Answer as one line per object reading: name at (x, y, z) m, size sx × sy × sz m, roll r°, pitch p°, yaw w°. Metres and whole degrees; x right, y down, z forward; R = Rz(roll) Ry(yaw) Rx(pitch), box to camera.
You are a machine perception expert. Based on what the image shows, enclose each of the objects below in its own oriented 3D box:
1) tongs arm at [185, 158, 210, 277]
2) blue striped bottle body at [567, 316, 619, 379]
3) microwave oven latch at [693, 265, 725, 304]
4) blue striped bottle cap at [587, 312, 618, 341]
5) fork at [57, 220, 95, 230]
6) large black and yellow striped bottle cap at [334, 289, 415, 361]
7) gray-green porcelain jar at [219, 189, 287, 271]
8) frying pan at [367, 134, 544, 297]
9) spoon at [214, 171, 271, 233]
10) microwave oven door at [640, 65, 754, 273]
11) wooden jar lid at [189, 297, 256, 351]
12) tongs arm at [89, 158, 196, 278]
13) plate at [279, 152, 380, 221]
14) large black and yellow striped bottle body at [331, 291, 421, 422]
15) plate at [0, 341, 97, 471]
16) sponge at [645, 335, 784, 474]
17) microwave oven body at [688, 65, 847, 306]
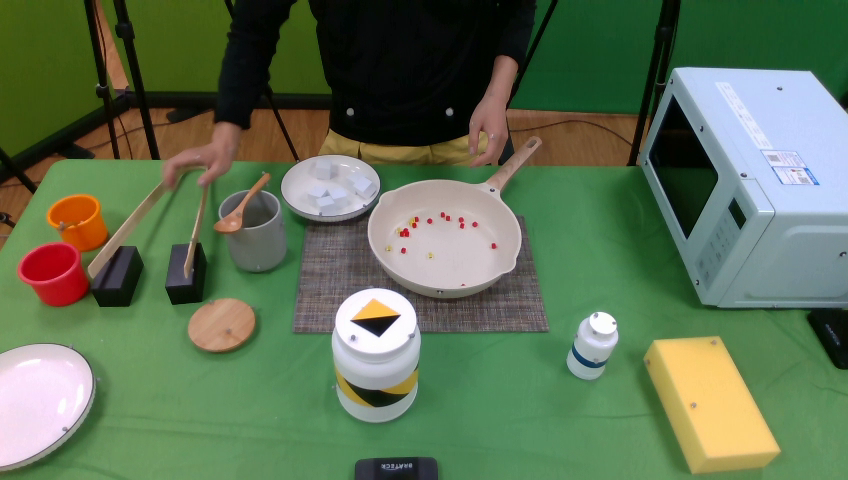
tongs arm at (-0.447, -0.057, 1.168) m, size 0.051 × 0.026 × 0.382 m, roll -4°, pitch 36°, yaw -7°
blue striped bottle body at (0.276, 0.168, 0.984) m, size 0.063 × 0.121 × 0.062 m, roll 2°, pitch 46°, yaw -2°
microwave oven latch at (0.523, 0.081, 1.116) m, size 0.030 × 0.029 × 0.078 m, roll 2°, pitch 46°, yaw -1°
blue striped bottle cap at (0.279, 0.134, 0.947) m, size 0.044 × 0.021 × 0.044 m, roll 2°, pitch 45°, yaw -2°
fork at (-0.624, -0.027, 1.086) m, size 0.028 × 0.207 × 0.018 m, roll -2°, pitch 91°, yaw -17°
large black and yellow striped bottle cap at (-0.069, 0.117, 0.850) m, size 0.115 × 0.019 × 0.114 m, roll 2°, pitch 45°, yaw -2°
gray-green porcelain jar at (-0.309, -0.014, 1.113) m, size 0.106 × 0.127 × 0.105 m, roll 2°, pitch 46°, yaw -2°
frying pan at (0.104, -0.069, 1.205) m, size 0.305 × 0.103 × 0.487 m, roll 32°, pitch 61°, yaw 23°
spoon at (-0.312, -0.070, 1.070) m, size 0.041 × 0.022 × 0.193 m, roll 7°, pitch 43°, yaw 12°
microwave oven door at (0.523, -0.147, 1.193) m, size 0.039 × 0.245 × 0.353 m, roll 0°, pitch 47°, yaw -3°
wooden jar lid at (-0.342, 0.145, 1.033) m, size 0.108 × 0.021 × 0.107 m, roll 3°, pitch 45°, yaw -2°
tongs arm at (-0.530, -0.057, 1.162) m, size 0.028 × 0.028 × 0.385 m, roll 1°, pitch 35°, yaw 7°
plate at (-0.196, -0.107, 1.269) m, size 0.208 × 0.039 × 0.206 m, roll 2°, pitch 45°, yaw -2°
large black and yellow striped bottle body at (-0.071, 0.175, 0.911) m, size 0.131 × 0.185 × 0.130 m, roll 2°, pitch 47°, yaw -2°
plate at (-0.599, 0.247, 0.904) m, size 0.209 × 0.038 × 0.208 m, roll 2°, pitch 47°, yaw -2°
sponge at (0.449, 0.253, 0.956) m, size 0.118 × 0.061 × 0.205 m, roll -4°, pitch 46°, yaw -7°
microwave oven body at (0.669, -0.111, 1.176) m, size 0.326 × 0.261 × 0.439 m, roll 0°, pitch 46°, yaw -3°
